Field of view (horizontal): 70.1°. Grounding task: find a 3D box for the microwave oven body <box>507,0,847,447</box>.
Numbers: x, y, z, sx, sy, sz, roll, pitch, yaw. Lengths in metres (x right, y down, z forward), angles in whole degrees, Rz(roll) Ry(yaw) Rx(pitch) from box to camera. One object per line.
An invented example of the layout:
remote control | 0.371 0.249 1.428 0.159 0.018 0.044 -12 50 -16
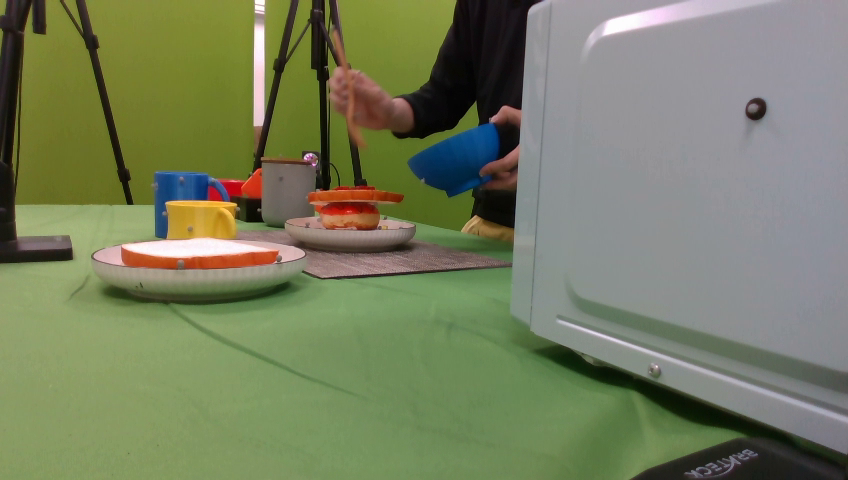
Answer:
microwave oven body | 0.331 -0.042 0.425 0.444 0.260 0.324 -2 8 -31

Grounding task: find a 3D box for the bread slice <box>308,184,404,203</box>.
bread slice | -0.114 -0.072 0.954 0.134 0.018 0.107 -3 -1 21

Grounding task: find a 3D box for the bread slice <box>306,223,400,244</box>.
bread slice | -0.103 -0.011 0.962 0.131 0.019 0.105 5 9 24

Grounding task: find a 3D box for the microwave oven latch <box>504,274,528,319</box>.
microwave oven latch | 0.100 0.041 0.470 0.079 0.029 0.030 -1 7 -27

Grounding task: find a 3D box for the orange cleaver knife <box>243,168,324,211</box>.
orange cleaver knife | -0.300 -0.089 1.351 0.212 0.077 0.012 28 -9 -34

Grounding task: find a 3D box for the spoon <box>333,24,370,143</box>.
spoon | -0.113 -0.243 0.941 0.021 0.193 0.042 -12 -2 9

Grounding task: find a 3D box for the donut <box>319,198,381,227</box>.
donut | -0.118 -0.042 0.965 0.099 0.048 0.099 -9 -7 -1

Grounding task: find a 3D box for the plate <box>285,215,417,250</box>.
plate | -0.116 -0.014 0.964 0.209 0.038 0.209 2 7 0

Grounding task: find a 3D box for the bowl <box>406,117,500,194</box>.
bowl | 0.056 -0.121 0.928 0.151 0.077 0.151 -24 1 1

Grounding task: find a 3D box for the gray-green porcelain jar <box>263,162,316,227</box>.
gray-green porcelain jar | -0.271 -0.092 1.217 0.106 0.126 0.106 2 7 0

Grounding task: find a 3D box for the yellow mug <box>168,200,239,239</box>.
yellow mug | -0.319 -0.023 0.904 0.130 0.064 0.100 9 11 36

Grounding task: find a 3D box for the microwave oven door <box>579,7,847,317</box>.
microwave oven door | 0.295 -0.067 0.570 0.358 0.243 0.039 -3 9 -31

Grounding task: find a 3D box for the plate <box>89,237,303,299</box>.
plate | -0.233 0.029 0.637 0.208 0.039 0.207 2 7 0

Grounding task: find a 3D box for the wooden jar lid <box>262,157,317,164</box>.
wooden jar lid | -0.269 -0.154 1.208 0.108 0.020 0.108 3 4 0

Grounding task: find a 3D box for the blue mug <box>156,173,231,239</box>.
blue mug | -0.381 -0.057 1.004 0.117 0.106 0.082 0 8 -12

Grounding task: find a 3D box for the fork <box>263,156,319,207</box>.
fork | -0.331 -0.144 1.505 0.207 0.018 0.028 -42 -20 22
